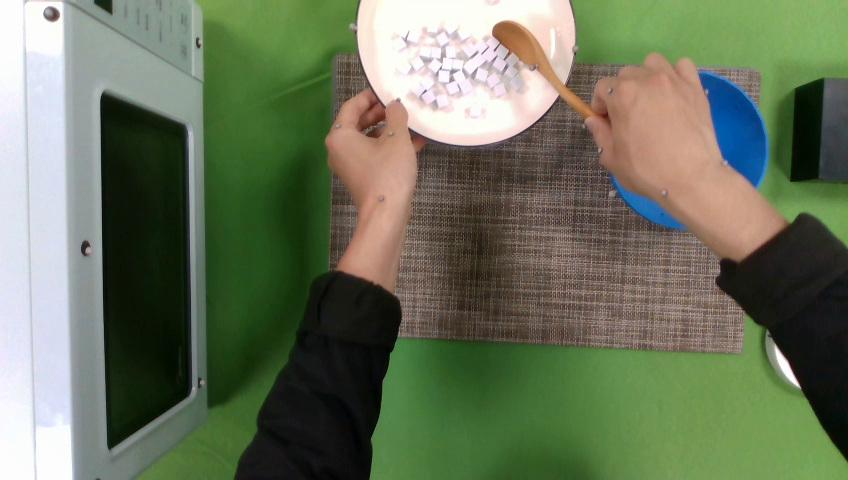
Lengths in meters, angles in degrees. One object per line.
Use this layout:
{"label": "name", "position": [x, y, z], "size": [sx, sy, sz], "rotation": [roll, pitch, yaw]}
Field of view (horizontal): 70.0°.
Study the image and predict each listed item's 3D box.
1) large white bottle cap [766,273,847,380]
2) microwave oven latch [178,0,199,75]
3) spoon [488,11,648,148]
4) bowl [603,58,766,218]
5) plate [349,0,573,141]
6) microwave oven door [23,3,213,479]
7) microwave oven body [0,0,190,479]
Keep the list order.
{"label": "large white bottle cap", "position": [0.427, 0.093, 0.648], "size": [0.115, 0.018, 0.115], "rotation": [0, 94, 0]}
{"label": "microwave oven latch", "position": [-0.246, -0.209, 0.614], "size": [0.030, 0.029, 0.079], "rotation": [0, 94, 1]}
{"label": "spoon", "position": [0.125, -0.143, 0.544], "size": [0.021, 0.042, 0.192], "rotation": [-30, 66, -21]}
{"label": "bowl", "position": [0.247, -0.096, 0.606], "size": [0.151, 0.077, 0.151], "rotation": [0, 93, 2]}
{"label": "plate", "position": [0.036, -0.196, 0.575], "size": [0.209, 0.038, 0.209], "rotation": [0, 91, -6]}
{"label": "microwave oven door", "position": [-0.249, 0.014, 0.525], "size": [0.039, 0.243, 0.356], "rotation": [-1, 93, 2]}
{"label": "microwave oven body", "position": [-0.396, -0.028, 0.530], "size": [0.326, 0.260, 0.442], "rotation": [0, 94, 0]}
